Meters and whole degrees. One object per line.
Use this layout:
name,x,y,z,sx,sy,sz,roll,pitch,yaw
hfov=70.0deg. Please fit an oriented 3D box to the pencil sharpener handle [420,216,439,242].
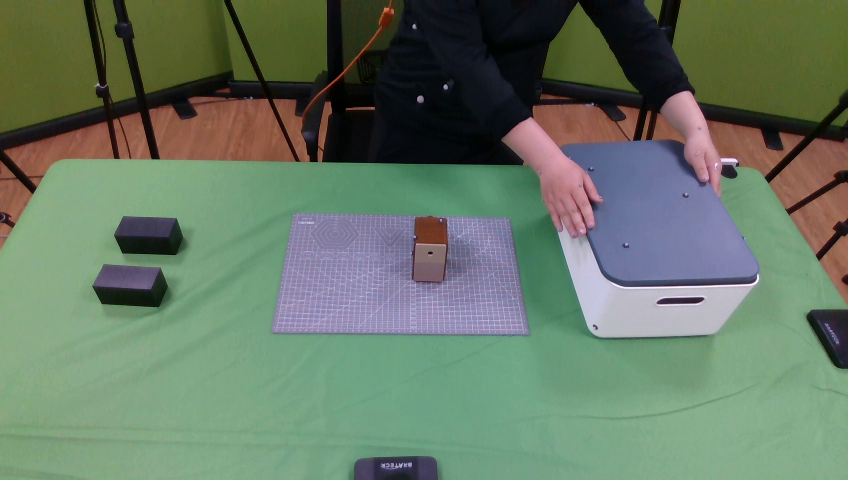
pencil sharpener handle,0.007,-0.028,1.145,0.036,0.068,0.030,6,45,-6

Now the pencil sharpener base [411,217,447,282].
pencil sharpener base,0.009,0.017,1.118,0.061,0.107,0.076,2,45,-2

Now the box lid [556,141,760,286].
box lid,0.399,-0.061,1.078,0.263,0.015,0.369,-2,45,-4

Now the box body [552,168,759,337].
box body,0.401,-0.001,1.131,0.254,0.161,0.361,-1,46,-5
